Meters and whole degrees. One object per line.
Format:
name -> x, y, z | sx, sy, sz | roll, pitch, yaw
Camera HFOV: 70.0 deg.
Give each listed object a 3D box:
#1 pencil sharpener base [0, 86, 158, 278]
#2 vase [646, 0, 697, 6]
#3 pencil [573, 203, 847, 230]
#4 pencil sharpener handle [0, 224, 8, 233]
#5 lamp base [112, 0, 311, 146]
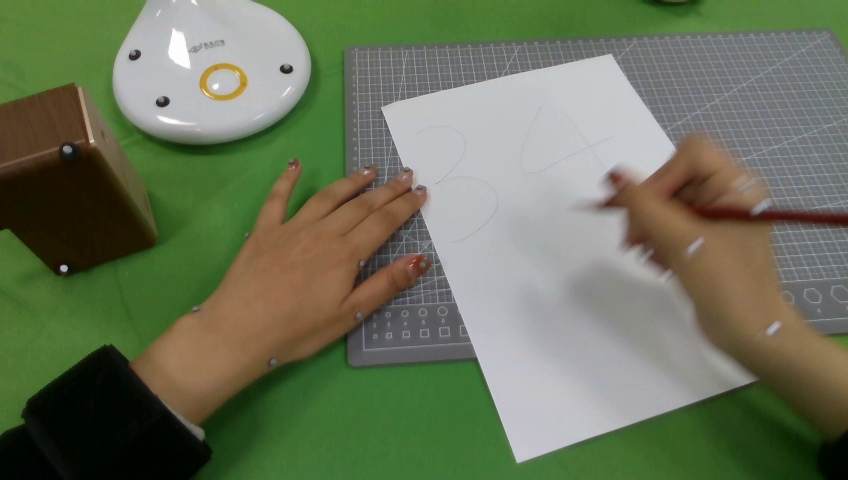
pencil sharpener base -> -0.231, -0.032, 0.388 | 0.077, 0.108, 0.061 | -21, 61, -13
vase -> 0.235, -0.308, 0.518 | 0.098, 0.202, 0.097 | 0, 56, 1
pencil -> 0.170, -0.013, 0.328 | 0.192, 0.012, 0.012 | 6, 52, 39
pencil sharpener handle -> -0.277, -0.022, 0.366 | 0.031, 0.068, 0.035 | -22, 63, -13
lamp base -> -0.183, -0.191, 0.447 | 0.160, 0.182, 0.177 | -31, 61, -19
